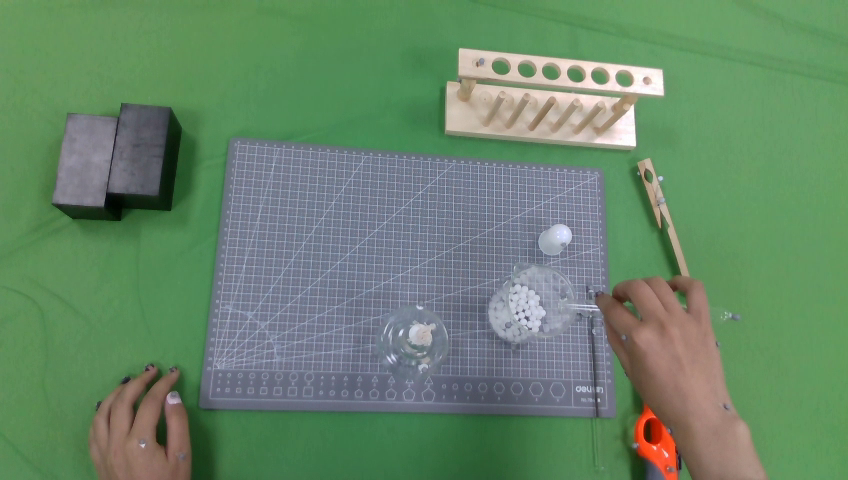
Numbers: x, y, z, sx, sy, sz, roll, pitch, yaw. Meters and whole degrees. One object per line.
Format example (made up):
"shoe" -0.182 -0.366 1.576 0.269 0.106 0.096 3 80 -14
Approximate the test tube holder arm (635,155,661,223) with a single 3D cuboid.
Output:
"test tube holder arm" 0.282 -0.064 0.755 0.010 0.015 0.087 -20 80 21

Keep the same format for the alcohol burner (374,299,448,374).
"alcohol burner" -0.011 0.096 0.616 0.078 0.119 0.077 2 73 -8

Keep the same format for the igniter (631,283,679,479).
"igniter" 0.259 0.185 0.685 0.057 0.025 0.275 6 76 -18

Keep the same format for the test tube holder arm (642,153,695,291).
"test tube holder arm" 0.299 -0.023 0.745 0.013 0.015 0.177 -21 79 21

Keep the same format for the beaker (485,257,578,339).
"beaker" 0.108 0.065 0.650 0.074 0.100 0.083 -29 81 -15

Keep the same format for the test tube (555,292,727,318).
"test tube" 0.197 0.059 0.559 0.149 0.017 0.017 1 73 24

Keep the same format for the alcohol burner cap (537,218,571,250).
"alcohol burner cap" 0.154 -0.009 0.705 0.034 0.048 0.033 2 76 -8

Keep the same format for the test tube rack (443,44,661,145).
"test tube rack" 0.149 -0.170 0.724 0.243 0.085 0.066 3 76 -8

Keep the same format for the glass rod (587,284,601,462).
"glass rod" 0.193 0.148 0.690 0.008 0.008 0.198 3 76 -9
